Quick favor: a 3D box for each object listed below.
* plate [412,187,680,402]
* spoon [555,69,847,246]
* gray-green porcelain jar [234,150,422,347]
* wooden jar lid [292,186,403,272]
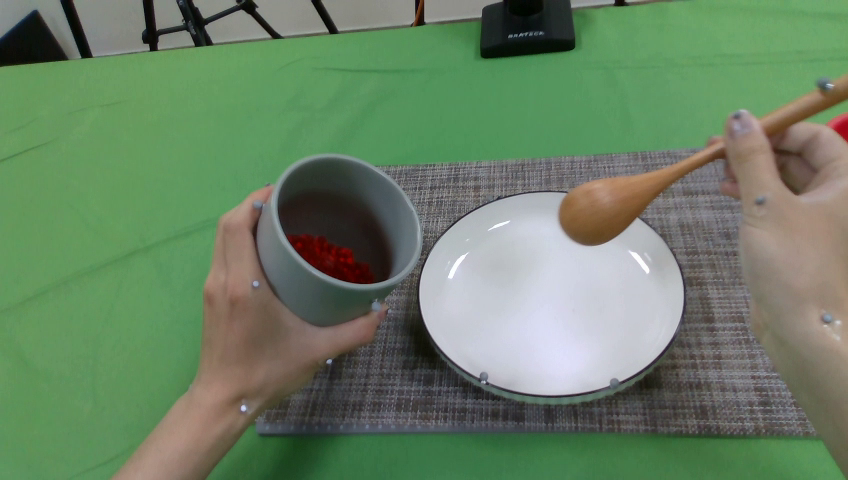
[{"bbox_3d":[0.096,0.041,0.494,0.207,0.039,0.205,-6,48,7],"label":"plate"},{"bbox_3d":[0.161,-0.049,0.353,0.193,0.022,0.041,-30,84,27],"label":"spoon"},{"bbox_3d":[-0.076,0.013,0.442,0.106,0.127,0.105,16,54,-23],"label":"gray-green porcelain jar"},{"bbox_3d":[-0.072,-0.010,0.586,0.108,0.021,0.107,-5,47,6],"label":"wooden jar lid"}]
